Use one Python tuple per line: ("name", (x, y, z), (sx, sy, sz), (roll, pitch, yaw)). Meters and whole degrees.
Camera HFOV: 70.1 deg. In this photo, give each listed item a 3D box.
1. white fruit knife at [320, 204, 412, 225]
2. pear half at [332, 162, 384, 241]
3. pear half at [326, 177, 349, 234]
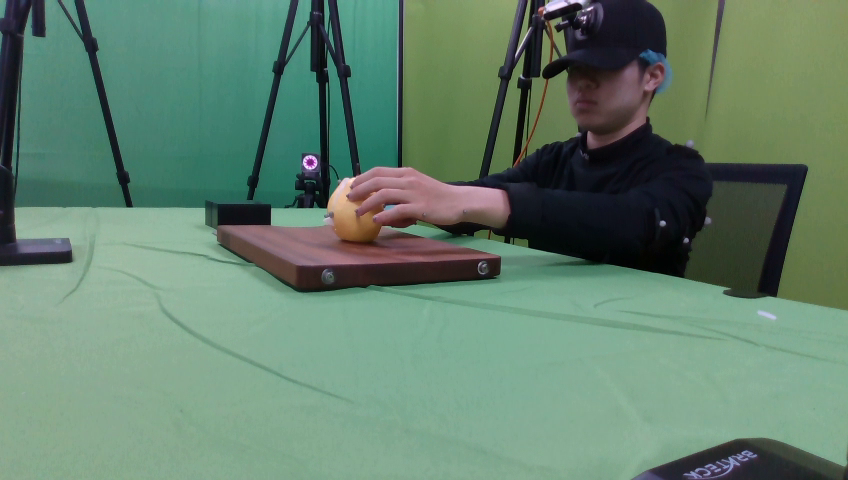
("white fruit knife", (-0.081, -0.038, 0.898), (0.016, 0.027, 0.208), (-1, 5, 34))
("pear half", (-0.085, -0.053, 0.840), (0.055, 0.110, 0.076), (6, 12, 30))
("pear half", (-0.118, -0.046, 0.865), (0.031, 0.088, 0.071), (-2, 7, 28))
